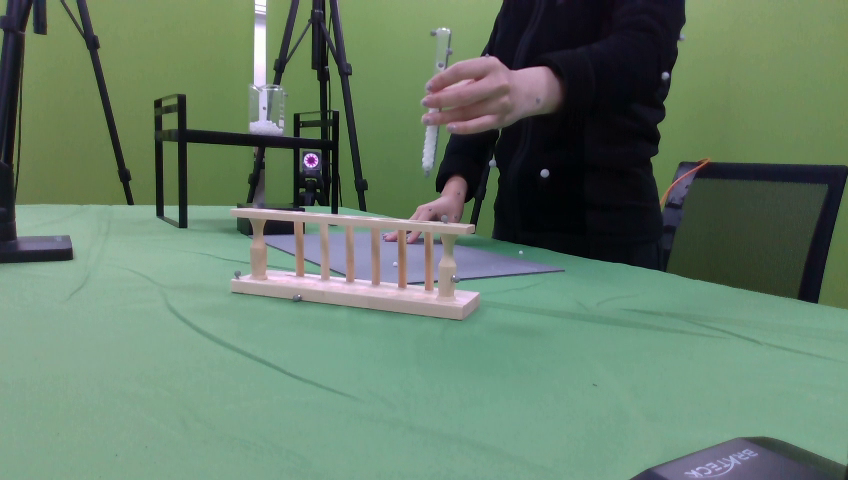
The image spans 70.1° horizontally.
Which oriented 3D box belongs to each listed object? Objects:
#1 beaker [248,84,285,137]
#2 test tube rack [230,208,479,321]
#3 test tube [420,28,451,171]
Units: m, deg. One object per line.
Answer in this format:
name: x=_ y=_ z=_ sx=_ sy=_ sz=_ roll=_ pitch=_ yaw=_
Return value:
beaker: x=-0.321 y=-0.261 z=1.225 sx=0.074 sy=0.100 sz=0.084 roll=3 pitch=8 yaw=3
test tube rack: x=-0.069 y=0.017 z=0.598 sx=0.242 sy=0.085 sz=0.067 roll=5 pitch=8 yaw=18
test tube: x=0.012 y=-0.150 z=0.651 sx=0.017 sy=0.150 sz=0.017 roll=7 pitch=8 yaw=-1
